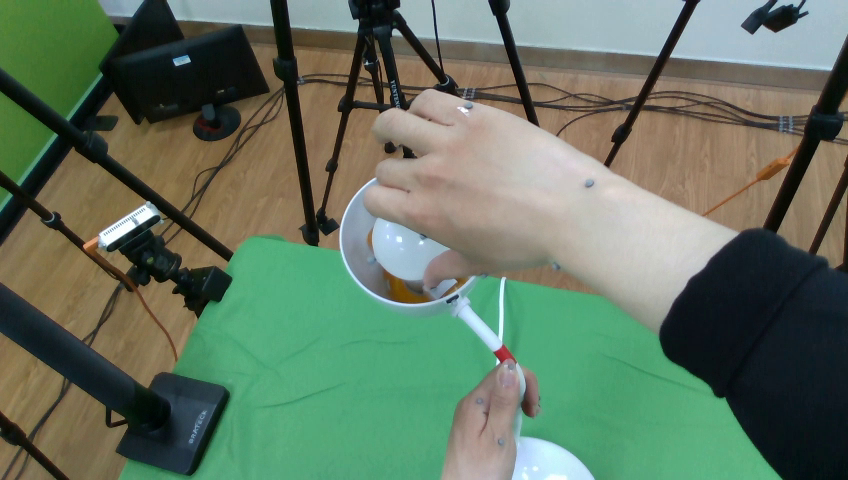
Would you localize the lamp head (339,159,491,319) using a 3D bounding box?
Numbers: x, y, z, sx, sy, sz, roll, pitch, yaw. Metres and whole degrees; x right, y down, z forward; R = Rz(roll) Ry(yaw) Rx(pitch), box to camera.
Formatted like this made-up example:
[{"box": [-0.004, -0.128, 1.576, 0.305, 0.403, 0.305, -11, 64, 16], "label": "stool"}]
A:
[{"box": [0.000, 0.013, 0.489, 0.112, 0.124, 0.111, -3, 65, 7], "label": "lamp head"}]

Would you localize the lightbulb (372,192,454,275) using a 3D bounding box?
[{"box": [-0.007, 0.002, 0.459, 0.059, 0.108, 0.059, 0, 74, 2], "label": "lightbulb"}]

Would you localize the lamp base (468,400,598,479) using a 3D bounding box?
[{"box": [0.113, 0.254, 0.650, 0.161, 0.182, 0.177, -25, 55, -8], "label": "lamp base"}]
